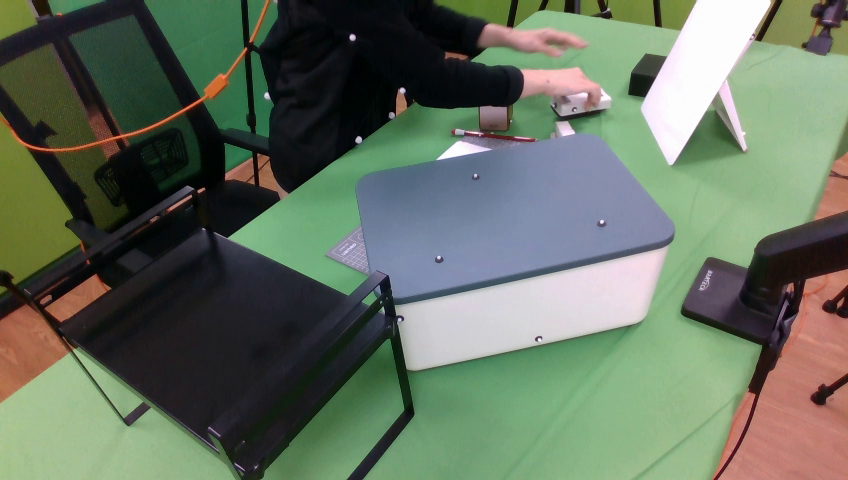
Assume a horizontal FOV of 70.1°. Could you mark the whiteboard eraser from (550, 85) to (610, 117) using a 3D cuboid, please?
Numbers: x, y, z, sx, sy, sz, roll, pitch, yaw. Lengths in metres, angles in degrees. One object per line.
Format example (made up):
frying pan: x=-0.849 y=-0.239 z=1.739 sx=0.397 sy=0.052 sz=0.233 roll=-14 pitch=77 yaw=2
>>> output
whiteboard eraser: x=0.318 y=-0.281 z=1.233 sx=0.113 sy=0.042 sz=0.055 roll=-14 pitch=43 yaw=-12

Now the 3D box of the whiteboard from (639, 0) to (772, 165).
whiteboard: x=0.543 y=-0.298 z=1.076 sx=0.144 sy=0.305 sz=0.216 roll=12 pitch=40 yaw=-7

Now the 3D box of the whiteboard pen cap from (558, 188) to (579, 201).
whiteboard pen cap: x=0.245 y=-0.077 z=1.028 sx=0.033 sy=0.018 sz=0.018 roll=-18 pitch=42 yaw=-15

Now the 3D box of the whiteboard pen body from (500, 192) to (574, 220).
whiteboard pen body: x=0.191 y=-0.059 z=1.011 sx=0.141 sy=0.017 sz=0.017 roll=-18 pitch=41 yaw=-16

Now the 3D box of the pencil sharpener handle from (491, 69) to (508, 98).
pencil sharpener handle: x=0.155 y=-0.330 z=1.254 sx=0.036 sy=0.068 sz=0.030 roll=18 pitch=44 yaw=3

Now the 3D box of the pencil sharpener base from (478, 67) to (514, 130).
pencil sharpener base: x=0.148 y=-0.287 z=1.224 sx=0.061 sy=0.107 sz=0.076 roll=5 pitch=42 yaw=15

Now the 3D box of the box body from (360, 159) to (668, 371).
box body: x=0.109 y=0.014 z=0.833 sx=0.365 sy=0.161 sz=0.252 roll=-11 pitch=41 yaw=-5

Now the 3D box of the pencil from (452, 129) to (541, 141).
pencil: x=0.147 y=-0.208 z=1.206 sx=0.193 sy=0.012 sz=0.012 roll=10 pitch=43 yaw=18

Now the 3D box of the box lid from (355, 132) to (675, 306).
box lid: x=0.103 y=-0.042 z=0.785 sx=0.372 sy=0.015 sz=0.261 roll=-12 pitch=41 yaw=-5

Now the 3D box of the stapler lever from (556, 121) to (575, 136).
stapler lever: x=0.265 y=-0.198 z=1.128 sx=0.027 sy=0.040 sz=0.117 roll=-1 pitch=38 yaw=5

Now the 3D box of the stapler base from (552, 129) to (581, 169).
stapler base: x=0.268 y=-0.178 z=1.142 sx=0.041 sy=0.024 sz=0.130 roll=-1 pitch=38 yaw=5
